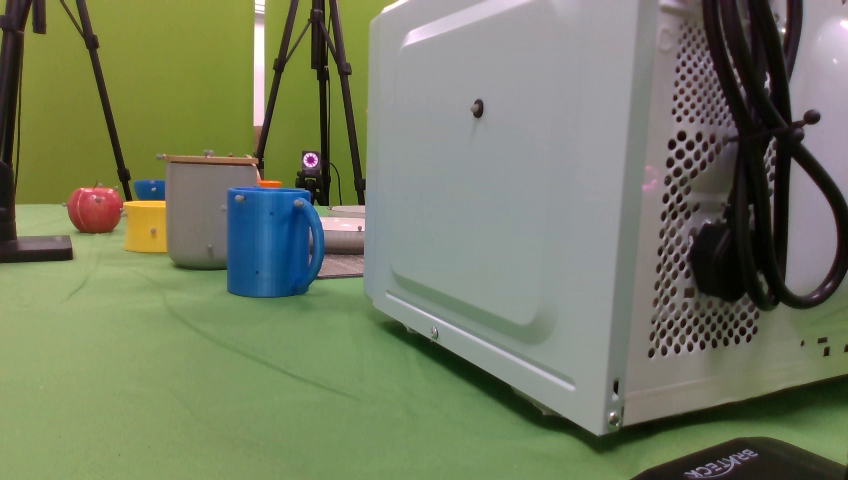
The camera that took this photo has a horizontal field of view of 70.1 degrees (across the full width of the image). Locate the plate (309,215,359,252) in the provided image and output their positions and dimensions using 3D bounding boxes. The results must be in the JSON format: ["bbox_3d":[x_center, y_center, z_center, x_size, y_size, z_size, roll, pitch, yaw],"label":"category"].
[{"bbox_3d":[-0.130,-0.011,0.945,0.208,0.039,0.207,2,7,0],"label":"plate"}]

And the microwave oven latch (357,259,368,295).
[{"bbox_3d":[-0.019,0.031,0.529,0.079,0.029,0.030,-1,7,-27],"label":"microwave oven latch"}]

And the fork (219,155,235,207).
[{"bbox_3d":[-0.459,-0.134,1.415,0.028,0.018,0.207,-1,-34,-24],"label":"fork"}]

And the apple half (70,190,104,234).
[{"bbox_3d":[-0.552,-0.047,1.010,0.053,0.074,0.081,0,10,26],"label":"apple half"}]

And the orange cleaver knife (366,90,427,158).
[{"bbox_3d":[-0.049,-0.203,1.157,0.012,0.077,0.212,-7,-29,28],"label":"orange cleaver knife"}]

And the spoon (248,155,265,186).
[{"bbox_3d":[-0.417,-0.150,1.543,0.042,0.193,0.021,-6,-34,-32],"label":"spoon"}]

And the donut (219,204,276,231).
[{"bbox_3d":[-0.316,-0.039,1.083,0.099,0.048,0.099,2,7,0],"label":"donut"}]

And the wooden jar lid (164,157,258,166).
[{"bbox_3d":[-0.261,-0.093,0.746,0.108,0.020,0.108,0,9,0],"label":"wooden jar lid"}]

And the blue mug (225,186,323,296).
[{"bbox_3d":[-0.148,0.000,0.618,0.116,0.106,0.083,7,9,33],"label":"blue mug"}]

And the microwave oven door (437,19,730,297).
[{"bbox_3d":[0.181,-0.076,0.618,0.358,0.243,0.039,-2,9,-28],"label":"microwave oven door"}]

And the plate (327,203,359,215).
[{"bbox_3d":[-0.102,-0.053,1.299,0.209,0.038,0.209,2,8,0],"label":"plate"}]

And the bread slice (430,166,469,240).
[{"bbox_3d":[0.047,-0.065,1.064,0.019,0.131,0.105,5,7,37],"label":"bread slice"}]

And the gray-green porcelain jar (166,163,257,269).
[{"bbox_3d":[-0.263,-0.031,0.754,0.106,0.126,0.106,2,7,0],"label":"gray-green porcelain jar"}]

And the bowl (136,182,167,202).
[{"bbox_3d":[-0.497,-0.076,1.221,0.151,0.077,0.151,2,8,0],"label":"bowl"}]

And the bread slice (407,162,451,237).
[{"bbox_3d":[0.011,-0.074,1.100,0.018,0.134,0.107,-1,2,38],"label":"bread slice"}]

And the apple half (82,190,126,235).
[{"bbox_3d":[-0.516,-0.046,0.994,0.032,0.081,0.081,0,6,26],"label":"apple half"}]

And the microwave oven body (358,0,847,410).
[{"bbox_3d":[0.210,-0.051,0.471,0.444,0.260,0.324,-1,7,-28],"label":"microwave oven body"}]

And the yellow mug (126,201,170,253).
[{"bbox_3d":[-0.361,-0.019,0.866,0.130,0.064,0.100,7,9,27],"label":"yellow mug"}]
